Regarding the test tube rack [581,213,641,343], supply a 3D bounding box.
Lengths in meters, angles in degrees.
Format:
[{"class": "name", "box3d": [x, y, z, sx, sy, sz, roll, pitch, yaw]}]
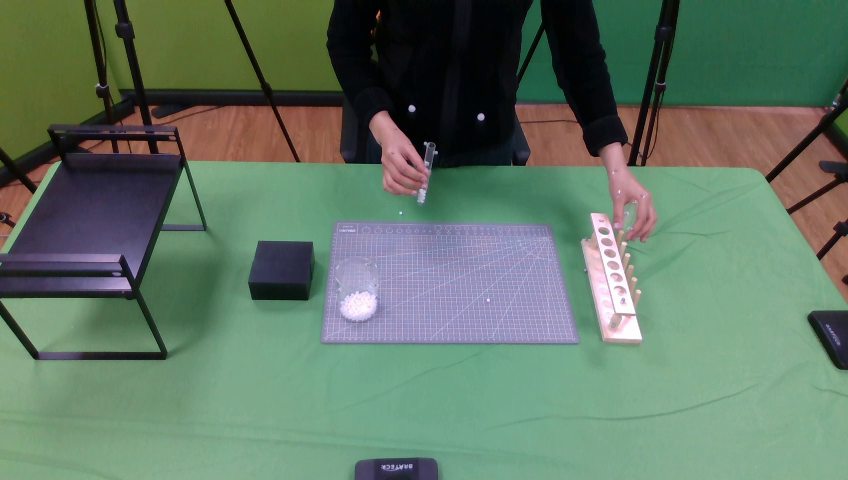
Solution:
[{"class": "test tube rack", "box3d": [0.351, 0.064, 1.121, 0.067, 0.085, 0.241, 3, 46, -1]}]

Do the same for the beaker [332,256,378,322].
[{"class": "beaker", "box3d": [-0.114, 0.089, 1.047, 0.083, 0.101, 0.074, 30, 51, 21]}]

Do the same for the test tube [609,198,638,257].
[{"class": "test tube", "box3d": [0.375, -0.021, 1.140, 0.017, 0.151, 0.017, 2, 46, -2]}]

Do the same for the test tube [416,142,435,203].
[{"class": "test tube", "box3d": [0.002, -0.120, 1.107, 0.017, 0.151, 0.017, 5, 51, -6]}]
